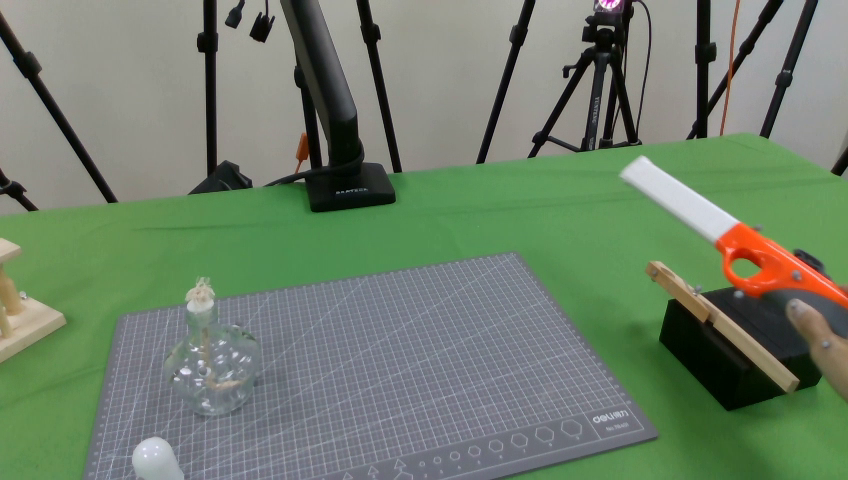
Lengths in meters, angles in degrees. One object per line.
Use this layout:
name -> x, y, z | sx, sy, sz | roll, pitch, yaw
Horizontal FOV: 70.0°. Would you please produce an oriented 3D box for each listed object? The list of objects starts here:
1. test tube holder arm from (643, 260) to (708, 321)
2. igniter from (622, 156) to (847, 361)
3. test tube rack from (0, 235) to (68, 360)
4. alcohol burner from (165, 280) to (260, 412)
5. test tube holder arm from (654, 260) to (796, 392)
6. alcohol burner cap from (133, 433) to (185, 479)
test tube holder arm -> 0.241, 0.047, 0.579 | 0.010, 0.015, 0.087 | -2, 31, -22
igniter -> 0.266, 0.003, 0.514 | 0.057, 0.025, 0.273 | -38, 42, 4
test tube rack -> -0.456, 0.093, 0.528 | 0.066, 0.086, 0.242 | 17, 35, 25
alcohol burner -> -0.180, 0.085, 0.511 | 0.078, 0.120, 0.077 | 0, 30, 0
test tube holder arm -> 0.261, 0.070, 0.545 | 0.013, 0.015, 0.176 | -2, 31, -21
alcohol burner cap -> -0.199, 0.165, 0.450 | 0.034, 0.048, 0.033 | 1, 32, 0
